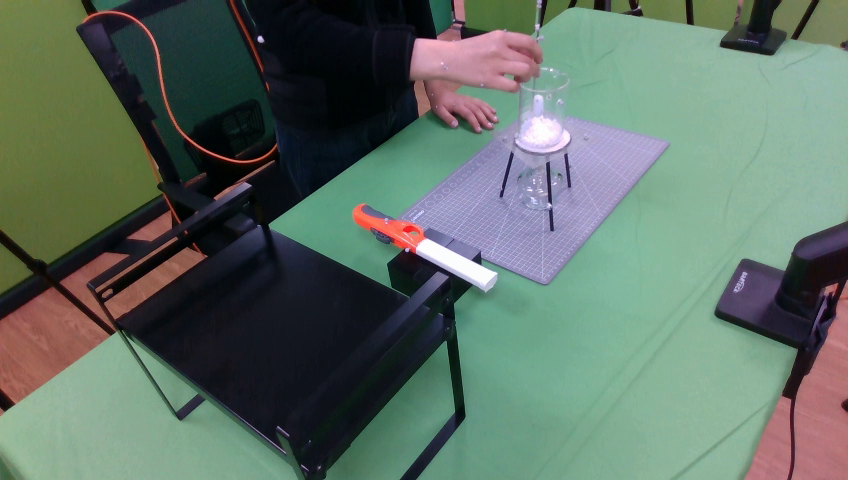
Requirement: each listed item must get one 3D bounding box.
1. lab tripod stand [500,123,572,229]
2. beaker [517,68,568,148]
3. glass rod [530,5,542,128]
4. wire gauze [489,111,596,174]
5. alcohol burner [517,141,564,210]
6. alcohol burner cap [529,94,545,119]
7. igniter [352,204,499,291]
[{"bbox_3d":[0.194,-0.110,0.985,0.148,0.132,0.147,-3,41,3],"label":"lab tripod stand"},{"bbox_3d":[0.179,-0.198,0.914,0.073,0.100,0.084,25,49,31],"label":"beaker"},{"bbox_3d":[0.162,-0.244,0.880,0.008,0.200,0.008,-3,47,3],"label":"glass rod"},{"bbox_3d":[0.183,-0.159,0.943,0.122,0.011,0.124,-25,47,-17],"label":"wire gauze"},{"bbox_3d":[0.193,-0.110,1.001,0.078,0.119,0.077,-5,39,5],"label":"alcohol burner"},{"bbox_3d":[0.233,-0.277,1.247,0.034,0.048,0.033,-5,41,5],"label":"alcohol burner cap"},{"bbox_3d":[-0.009,0.005,0.895,0.274,0.025,0.057,27,48,32],"label":"igniter"}]
